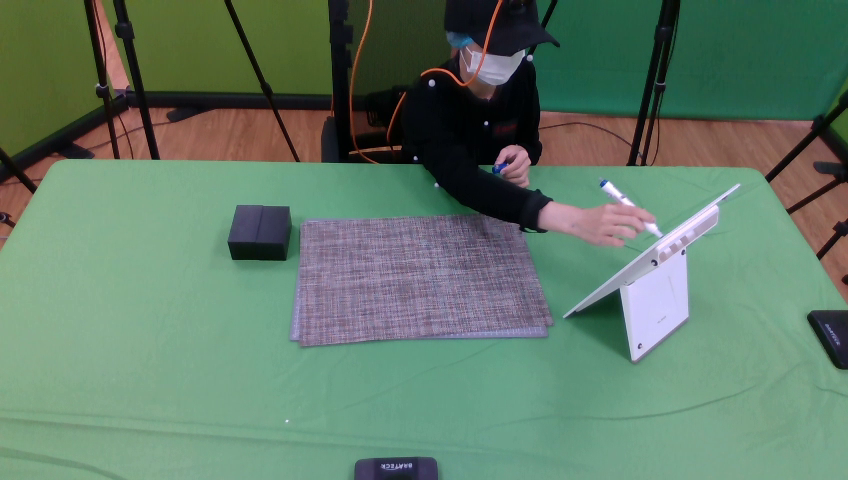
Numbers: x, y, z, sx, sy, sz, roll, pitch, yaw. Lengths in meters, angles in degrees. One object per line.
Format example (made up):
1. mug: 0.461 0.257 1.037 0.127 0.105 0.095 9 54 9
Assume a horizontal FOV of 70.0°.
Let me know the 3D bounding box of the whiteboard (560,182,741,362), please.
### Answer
1. whiteboard: 0.406 0.075 1.001 0.217 0.306 0.143 -28 73 -28

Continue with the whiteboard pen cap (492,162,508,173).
1. whiteboard pen cap: 0.162 -0.157 1.303 0.033 0.018 0.018 -19 50 -14

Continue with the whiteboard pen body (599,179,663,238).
1. whiteboard pen body: 0.344 -0.050 1.001 0.141 0.017 0.017 42 53 0
